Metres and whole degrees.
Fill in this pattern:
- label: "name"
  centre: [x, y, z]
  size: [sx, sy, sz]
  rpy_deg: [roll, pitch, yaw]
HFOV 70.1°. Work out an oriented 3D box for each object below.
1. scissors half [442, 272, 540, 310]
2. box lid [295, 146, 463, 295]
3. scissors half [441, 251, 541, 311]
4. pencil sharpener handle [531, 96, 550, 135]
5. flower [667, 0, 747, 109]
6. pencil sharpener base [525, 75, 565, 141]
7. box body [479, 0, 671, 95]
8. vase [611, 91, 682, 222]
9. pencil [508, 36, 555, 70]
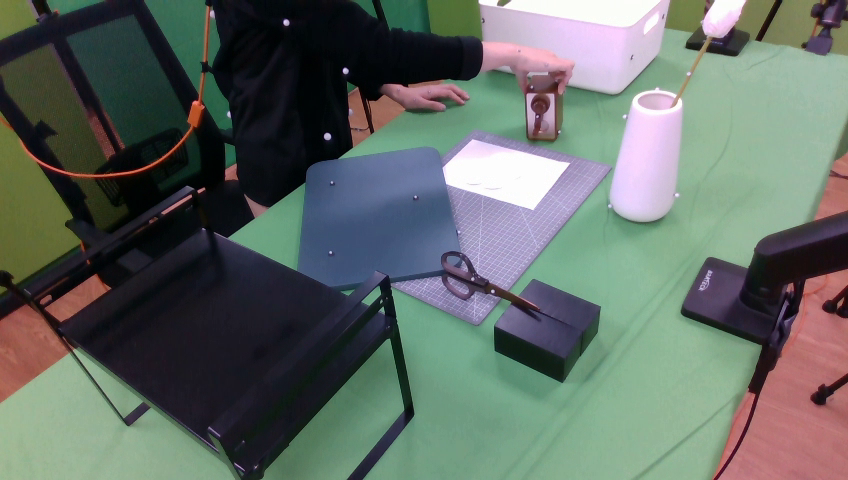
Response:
- label: "scissors half"
  centre: [0.089, 0.074, 0.832]
  size: [0.013, 0.040, 0.173]
  rpy_deg: [-24, 23, -38]
- label: "box lid"
  centre: [-0.084, -0.048, 1.052]
  size: [0.263, 0.015, 0.369]
  rpy_deg: [-9, 40, 0]
- label: "scissors half"
  centre: [0.087, 0.056, 0.824]
  size: [0.173, 0.040, 0.013]
  rpy_deg: [29, 44, 36]
- label: "pencil sharpener handle"
  centre: [0.214, -0.231, 1.130]
  size: [0.036, 0.068, 0.030]
  rpy_deg: [12, 45, 16]
- label: "flower"
  centre: [0.354, -0.187, 0.879]
  size: [0.038, 0.362, 0.044]
  rpy_deg: [31, 48, 14]
- label: "pencil sharpener base"
  centre: [0.235, -0.254, 1.172]
  size: [0.061, 0.107, 0.076]
  rpy_deg: [8, 44, 21]
- label: "box body"
  centre: [0.339, -0.480, 1.381]
  size: [0.361, 0.161, 0.255]
  rpy_deg: [22, 48, 30]
- label: "vase"
  centre: [0.348, -0.125, 0.935]
  size: [0.098, 0.201, 0.097]
  rpy_deg: [-3, 40, 3]
- label: "pencil"
  centre: [0.262, -0.454, 1.469]
  size: [0.012, 0.012, 0.194]
  rpy_deg: [27, 52, 33]
